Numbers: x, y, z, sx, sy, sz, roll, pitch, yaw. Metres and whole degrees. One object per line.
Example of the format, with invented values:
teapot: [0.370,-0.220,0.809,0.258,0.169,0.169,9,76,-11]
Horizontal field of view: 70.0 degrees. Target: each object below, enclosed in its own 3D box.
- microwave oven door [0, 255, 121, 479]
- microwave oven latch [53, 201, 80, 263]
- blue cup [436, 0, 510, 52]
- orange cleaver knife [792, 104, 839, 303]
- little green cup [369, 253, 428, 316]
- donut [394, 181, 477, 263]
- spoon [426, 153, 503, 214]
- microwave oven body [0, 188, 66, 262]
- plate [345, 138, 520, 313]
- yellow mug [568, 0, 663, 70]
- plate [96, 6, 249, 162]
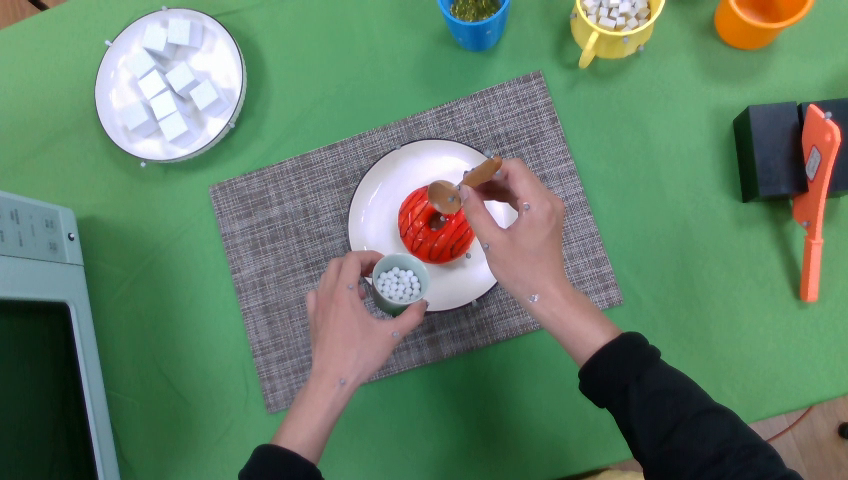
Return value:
microwave oven door: [-0.430,0.190,0.646,0.039,0.245,0.354,-15,81,6]
microwave oven latch: [-0.467,-0.009,0.777,0.030,0.029,0.079,-13,82,6]
blue cup: [0.060,-0.271,0.718,0.092,0.100,0.092,-1,84,7]
orange cleaver knife: [0.413,-0.036,0.650,0.012,0.077,0.212,-3,112,10]
little green cup: [-0.029,0.049,0.638,0.062,0.039,0.061,7,55,-10]
donut: [0.014,-0.021,0.713,0.099,0.048,0.099,-1,84,9]
spoon: [0.035,-0.050,0.562,0.021,0.193,0.042,-44,95,-11]
microwave oven body: [-0.580,0.187,0.673,0.326,0.261,0.440,-15,82,6]
plate: [0.010,-0.018,0.725,0.209,0.038,0.208,-1,83,8]
yellow mug: [0.215,-0.260,0.712,0.099,0.064,0.131,30,89,10]
plate: [-0.325,-0.201,0.798,0.207,0.039,0.207,-1,83,8]
